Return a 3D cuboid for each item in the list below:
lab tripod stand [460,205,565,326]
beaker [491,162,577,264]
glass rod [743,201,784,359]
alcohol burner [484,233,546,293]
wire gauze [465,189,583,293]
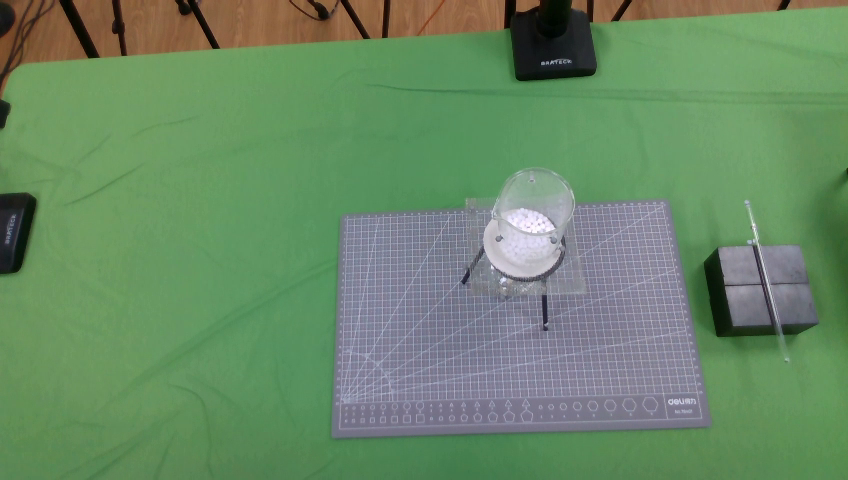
[{"bbox_3d":[0.116,0.022,0.731,0.148,0.132,0.147,-2,66,4],"label":"lab tripod stand"},{"bbox_3d":[0.108,-0.022,0.626,0.084,0.101,0.073,-18,67,-4],"label":"beaker"},{"bbox_3d":[0.405,0.044,0.724,0.008,0.008,0.198,-2,68,3],"label":"glass rod"},{"bbox_3d":[0.113,0.023,0.742,0.078,0.120,0.077,-1,69,3],"label":"alcohol burner"},{"bbox_3d":[0.109,0.001,0.669,0.125,0.011,0.120,-1,68,0],"label":"wire gauze"}]
